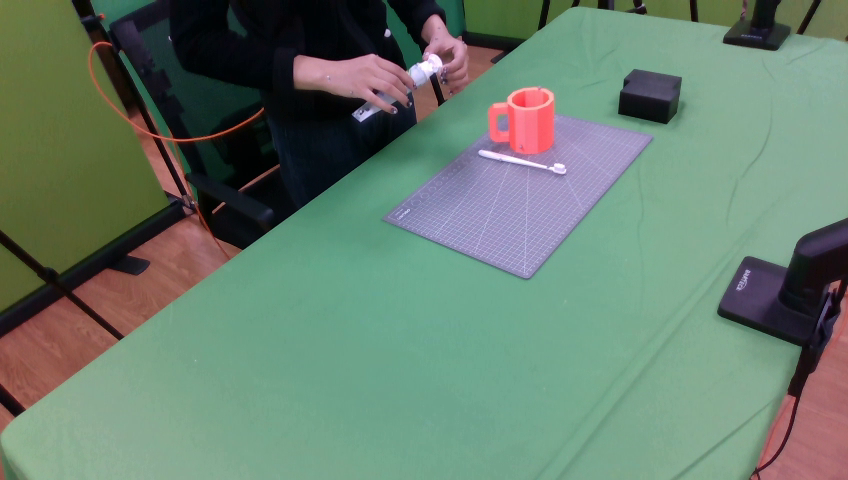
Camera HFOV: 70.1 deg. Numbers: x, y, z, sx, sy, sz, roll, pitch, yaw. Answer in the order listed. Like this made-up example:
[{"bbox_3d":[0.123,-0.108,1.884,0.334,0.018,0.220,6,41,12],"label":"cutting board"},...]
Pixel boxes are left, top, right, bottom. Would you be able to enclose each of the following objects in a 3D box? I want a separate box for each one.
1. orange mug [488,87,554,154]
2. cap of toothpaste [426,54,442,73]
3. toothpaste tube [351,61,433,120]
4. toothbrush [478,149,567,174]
[{"bbox_3d":[0.185,-0.227,1.151,0.126,0.101,0.083,1,41,5],"label":"orange mug"},{"bbox_3d":[0.016,-0.310,1.067,0.037,0.037,0.011,28,53,35],"label":"cap of toothpaste"},{"bbox_3d":[-0.054,-0.263,1.057,0.165,0.035,0.054,-35,30,-7],"label":"toothpaste tube"},{"bbox_3d":[0.179,-0.149,1.123,0.180,0.017,0.014,18,62,30],"label":"toothbrush"}]
